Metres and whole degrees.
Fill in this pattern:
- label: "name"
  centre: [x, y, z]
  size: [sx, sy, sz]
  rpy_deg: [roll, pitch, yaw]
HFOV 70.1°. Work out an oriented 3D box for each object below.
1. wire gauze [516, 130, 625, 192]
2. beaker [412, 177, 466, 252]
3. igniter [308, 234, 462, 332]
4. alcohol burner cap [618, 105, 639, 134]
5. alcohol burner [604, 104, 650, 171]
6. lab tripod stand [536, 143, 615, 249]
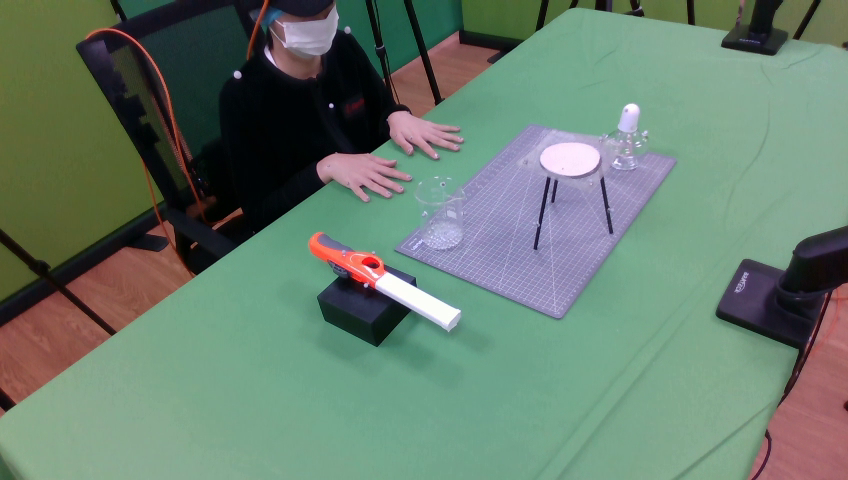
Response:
- label: "wire gauze"
  centre: [0.216, -0.123, 0.892]
  size: [0.124, 0.011, 0.122]
  rpy_deg: [22, 49, 31]
- label: "beaker"
  centre: [0.029, -0.038, 0.952]
  size: [0.083, 0.101, 0.074]
  rpy_deg: [9, 43, 18]
- label: "igniter"
  centre: [-0.066, 0.053, 0.846]
  size: [0.274, 0.025, 0.057]
  rpy_deg: [26, 49, 30]
- label: "alcohol burner cap"
  centre: [0.353, -0.208, 1.036]
  size: [0.034, 0.048, 0.033]
  rpy_deg: [-2, 46, 3]
- label: "alcohol burner"
  centre: [0.357, -0.182, 1.060]
  size: [0.078, 0.119, 0.077]
  rpy_deg: [-6, 39, 6]
- label: "lab tripod stand"
  centre: [0.224, -0.069, 0.931]
  size: [0.148, 0.132, 0.147]
  rpy_deg: [-4, 42, 4]
